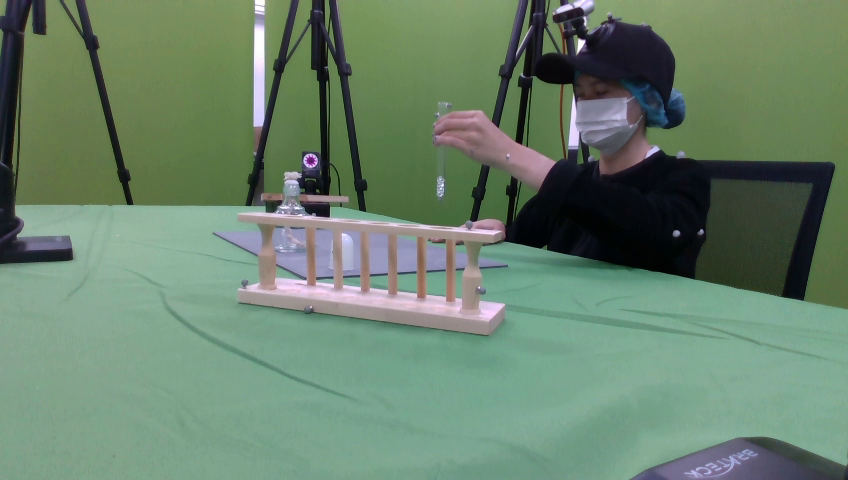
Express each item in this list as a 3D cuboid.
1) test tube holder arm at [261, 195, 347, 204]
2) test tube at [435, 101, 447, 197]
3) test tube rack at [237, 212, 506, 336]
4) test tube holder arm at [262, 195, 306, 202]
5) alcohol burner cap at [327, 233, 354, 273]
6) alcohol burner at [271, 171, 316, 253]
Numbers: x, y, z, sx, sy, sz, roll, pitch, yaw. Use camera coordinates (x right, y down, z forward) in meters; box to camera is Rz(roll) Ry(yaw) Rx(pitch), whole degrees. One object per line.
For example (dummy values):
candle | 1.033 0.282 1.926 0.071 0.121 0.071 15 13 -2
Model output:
test tube holder arm | -0.242 -0.083 1.231 0.179 0.015 0.013 -1 7 -32
test tube | 0.028 -0.144 0.961 0.017 0.150 0.017 1 10 0
test tube rack | -0.049 0.024 0.552 0.242 0.085 0.067 5 8 18
test tube holder arm | -0.278 -0.082 1.203 0.088 0.015 0.010 0 7 -30
alcohol burner cap | -0.104 0.016 0.752 0.034 0.048 0.034 3 6 0
alcohol burner | -0.196 -0.041 0.884 0.078 0.119 0.078 3 5 0
